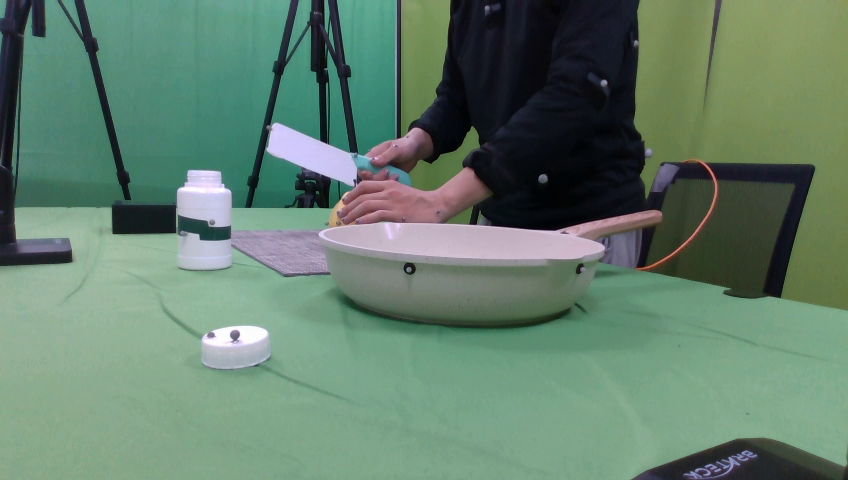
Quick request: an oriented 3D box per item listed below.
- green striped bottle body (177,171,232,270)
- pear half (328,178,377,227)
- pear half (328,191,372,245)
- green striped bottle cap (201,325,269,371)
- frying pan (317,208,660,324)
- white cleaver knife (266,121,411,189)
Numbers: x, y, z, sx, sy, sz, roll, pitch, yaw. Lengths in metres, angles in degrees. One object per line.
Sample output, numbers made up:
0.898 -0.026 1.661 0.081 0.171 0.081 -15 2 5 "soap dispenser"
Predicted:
-0.273 -0.026 0.752 0.063 0.119 0.063 2 7 0 "green striped bottle body"
-0.108 -0.042 0.943 0.077 0.110 0.055 -5 10 -25 "pear half"
-0.123 -0.037 0.976 0.071 0.088 0.031 -5 10 -25 "pear half"
-0.129 0.073 0.415 0.044 0.020 0.044 2 8 0 "green striped bottle cap"
0.121 0.006 0.691 0.490 0.102 0.305 -12 15 -33 "frying pan"
-0.134 -0.125 1.008 0.288 0.065 0.021 16 -26 -39 "white cleaver knife"
